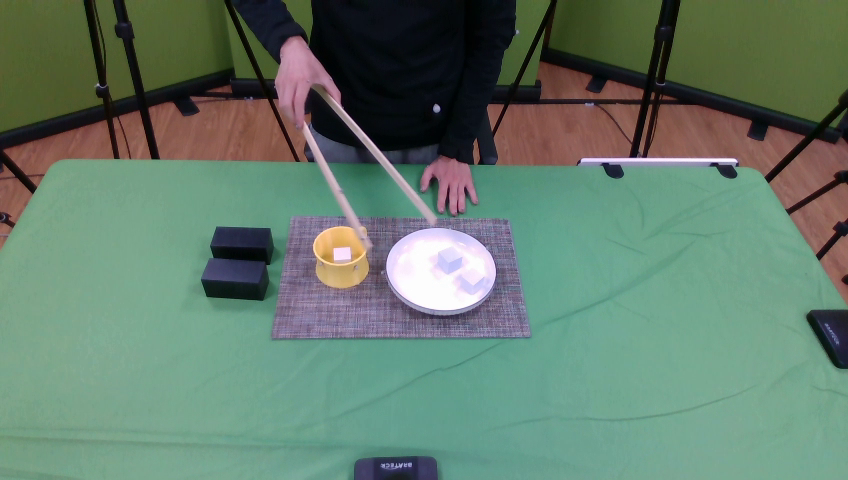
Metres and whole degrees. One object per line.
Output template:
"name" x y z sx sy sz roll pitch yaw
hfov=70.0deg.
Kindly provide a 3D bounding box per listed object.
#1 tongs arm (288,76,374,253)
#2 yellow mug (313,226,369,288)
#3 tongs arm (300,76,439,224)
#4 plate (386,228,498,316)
"tongs arm" -0.162 -0.143 1.073 0.051 0.026 0.383 -22 67 -24
"yellow mug" -0.146 0.021 1.132 0.099 0.064 0.130 24 49 19
"tongs arm" -0.103 -0.170 1.107 0.028 0.028 0.386 -35 73 -25
"plate" 0.032 0.062 1.126 0.208 0.039 0.206 2 46 -2
